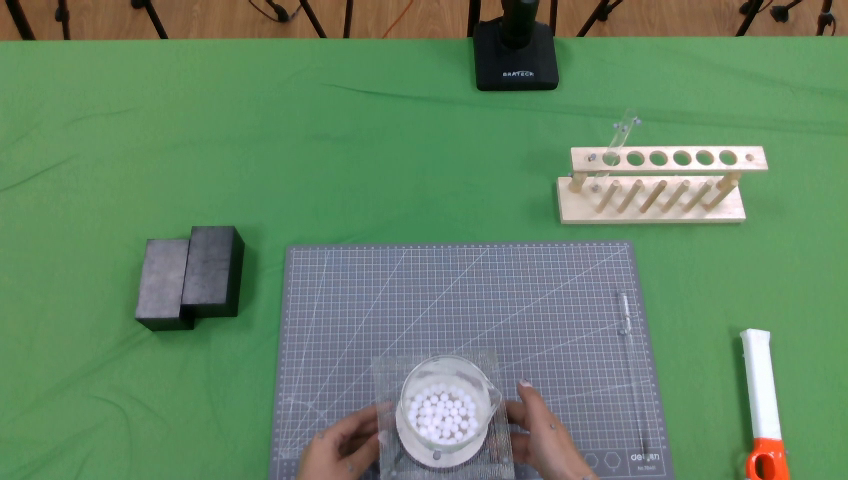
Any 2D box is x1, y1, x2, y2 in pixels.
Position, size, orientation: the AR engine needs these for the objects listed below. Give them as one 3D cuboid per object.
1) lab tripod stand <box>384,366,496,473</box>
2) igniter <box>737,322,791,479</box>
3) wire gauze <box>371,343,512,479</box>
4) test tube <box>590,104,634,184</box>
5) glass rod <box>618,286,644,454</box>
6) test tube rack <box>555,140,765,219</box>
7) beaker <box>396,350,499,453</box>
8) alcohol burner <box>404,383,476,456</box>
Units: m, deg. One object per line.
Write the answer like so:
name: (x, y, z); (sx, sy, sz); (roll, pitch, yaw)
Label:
lab tripod stand: (0.014, 0.190, 0.631); (0.148, 0.132, 0.147); (0, 66, 1)
igniter: (0.386, 0.229, 0.685); (0.057, 0.025, 0.274); (10, 66, -8)
wire gauze: (0.014, 0.160, 0.572); (0.125, 0.011, 0.120); (-4, 64, -1)
test tube: (0.228, -0.114, 0.744); (0.017, 0.151, 0.017); (0, 63, 0)
glass rod: (0.247, 0.151, 0.722); (0.008, 0.008, 0.198); (0, 69, -2)
test tube rack: (0.301, -0.077, 0.784); (0.242, 0.086, 0.066); (-1, 66, -2)
beaker: (0.019, 0.144, 0.526); (0.084, 0.101, 0.073); (-6, 66, -4)
alcohol burner: (0.018, 0.187, 0.643); (0.078, 0.120, 0.077); (1, 64, -2)
